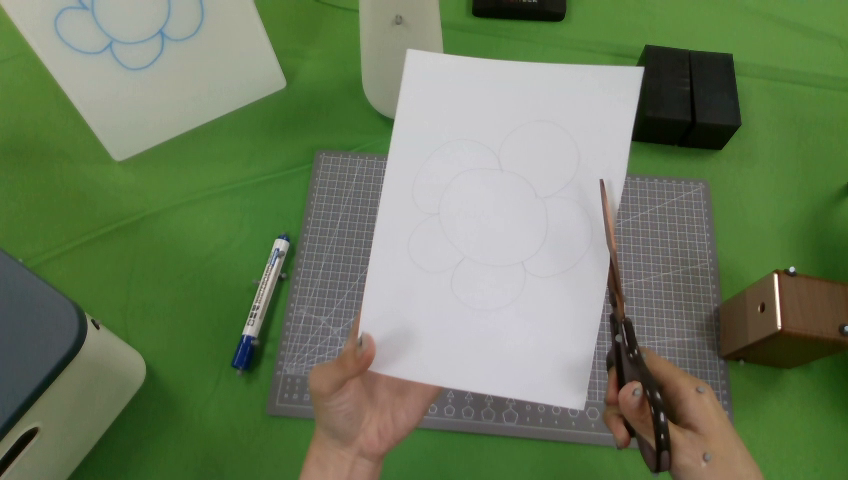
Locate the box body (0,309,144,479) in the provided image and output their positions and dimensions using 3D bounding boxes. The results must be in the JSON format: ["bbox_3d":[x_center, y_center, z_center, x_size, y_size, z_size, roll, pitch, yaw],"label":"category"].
[{"bbox_3d":[-0.471,0.099,0.524,0.362,0.161,0.253,30,70,12],"label":"box body"}]

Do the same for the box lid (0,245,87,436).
[{"bbox_3d":[-0.473,0.068,0.457,0.370,0.015,0.262,30,69,11],"label":"box lid"}]

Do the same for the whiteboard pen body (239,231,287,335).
[{"bbox_3d":[-0.169,0.054,0.624,0.017,0.017,0.140,11,65,5],"label":"whiteboard pen body"}]

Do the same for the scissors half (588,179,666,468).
[{"bbox_3d":[0.118,0.045,0.362,0.013,0.040,0.174,-10,76,0],"label":"scissors half"}]

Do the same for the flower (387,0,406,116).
[{"bbox_3d":[-0.035,-0.267,0.575,0.044,0.365,0.038,-2,49,3],"label":"flower"}]

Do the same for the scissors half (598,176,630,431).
[{"bbox_3d":[0.120,0.044,0.385,0.013,0.040,0.176,-10,111,5],"label":"scissors half"}]

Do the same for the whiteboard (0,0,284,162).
[{"bbox_3d":[-0.319,-0.279,0.643,0.217,0.308,0.142,-28,50,-11],"label":"whiteboard"}]

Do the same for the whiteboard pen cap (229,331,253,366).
[{"bbox_3d":[-0.180,0.107,0.600,0.018,0.018,0.033,11,63,5],"label":"whiteboard pen cap"}]

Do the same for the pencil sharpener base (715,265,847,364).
[{"bbox_3d":[0.336,0.074,0.572,0.077,0.107,0.061,9,66,0],"label":"pencil sharpener base"}]

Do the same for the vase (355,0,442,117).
[{"bbox_3d":[-0.029,-0.221,0.645,0.098,0.201,0.097,0,65,1],"label":"vase"}]

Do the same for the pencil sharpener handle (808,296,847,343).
[{"bbox_3d":[0.387,0.078,0.560,0.030,0.068,0.035,9,61,0],"label":"pencil sharpener handle"}]

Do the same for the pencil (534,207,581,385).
[{"bbox_3d":[0.139,0.054,0.631,0.012,0.012,0.192,-8,69,-4],"label":"pencil"}]
